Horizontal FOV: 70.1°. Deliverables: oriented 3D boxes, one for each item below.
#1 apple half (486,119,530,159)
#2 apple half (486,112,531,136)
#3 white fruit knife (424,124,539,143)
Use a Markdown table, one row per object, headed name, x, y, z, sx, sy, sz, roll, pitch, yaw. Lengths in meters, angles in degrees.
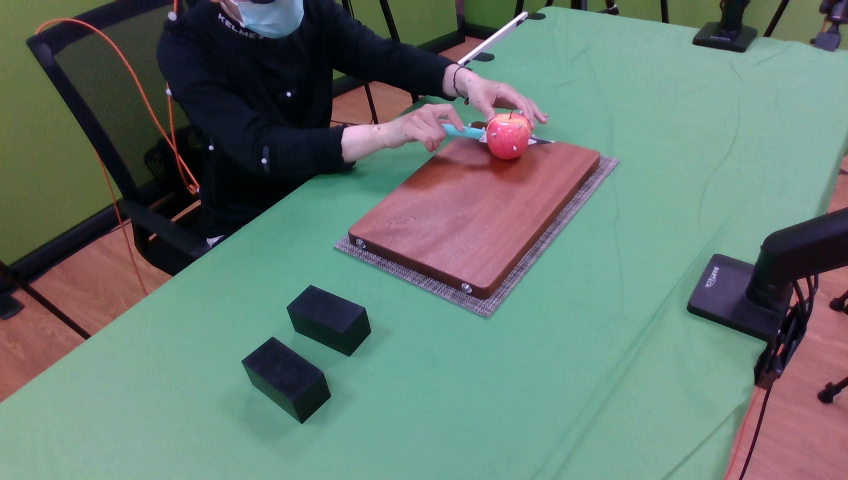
| name | x | y | z | sx | sy | sz | roll | pitch | yaw |
| --- | --- | --- | --- | --- | --- | --- | --- | --- | --- |
| apple half | 0.144 | -0.171 | 1.055 | 0.081 | 0.081 | 0.033 | 6 | 37 | 15 |
| apple half | 0.154 | -0.194 | 1.089 | 0.080 | 0.075 | 0.053 | 3 | 29 | 16 |
| white fruit knife | 0.100 | -0.189 | 1.077 | 0.207 | 0.027 | 0.016 | 7 | 42 | 11 |
